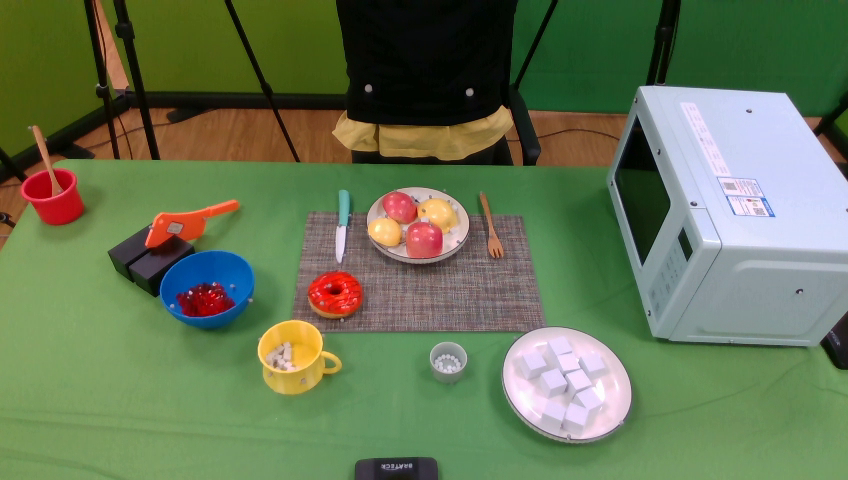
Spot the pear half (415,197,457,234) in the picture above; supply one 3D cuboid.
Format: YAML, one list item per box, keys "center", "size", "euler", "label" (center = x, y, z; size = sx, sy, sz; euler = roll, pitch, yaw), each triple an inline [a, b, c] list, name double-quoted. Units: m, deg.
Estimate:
- center: [0.016, -0.065, 1.227]
  size: [0.076, 0.056, 0.109]
  euler: [-27, 51, -32]
  label: "pear half"

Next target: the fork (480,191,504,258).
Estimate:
- center: [0.136, -0.035, 1.241]
  size: [0.028, 0.019, 0.206]
  euler: [-8, 46, 1]
  label: "fork"

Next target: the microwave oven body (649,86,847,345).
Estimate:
- center: [0.567, -0.053, 1.118]
  size: [0.326, 0.261, 0.439]
  euler: [2, 45, -1]
  label: "microwave oven body"

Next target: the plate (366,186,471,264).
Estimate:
- center: [-0.013, -0.027, 1.207]
  size: [0.209, 0.038, 0.208]
  euler: [2, 46, -2]
  label: "plate"

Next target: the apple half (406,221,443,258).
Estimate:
- center: [0.001, -0.006, 1.164]
  size: [0.075, 0.053, 0.080]
  euler: [5, 42, -1]
  label: "apple half"

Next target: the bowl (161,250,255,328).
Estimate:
- center: [-0.362, 0.097, 1.040]
  size: [0.151, 0.077, 0.150]
  euler: [2, 45, -2]
  label: "bowl"

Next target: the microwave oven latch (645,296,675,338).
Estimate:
- center: [0.411, 0.134, 1.061]
  size: [0.030, 0.029, 0.078]
  euler: [4, 45, 0]
  label: "microwave oven latch"

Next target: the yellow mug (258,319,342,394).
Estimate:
- center: [-0.196, 0.189, 0.972]
  size: [0.131, 0.064, 0.099]
  euler: [9, 46, 4]
  label: "yellow mug"

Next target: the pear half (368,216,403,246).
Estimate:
- center: [-0.070, -0.026, 1.183]
  size: [0.070, 0.031, 0.087]
  euler: [33, 46, 0]
  label: "pear half"

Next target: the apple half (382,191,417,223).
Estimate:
- center: [-0.043, -0.072, 1.225]
  size: [0.081, 0.033, 0.081]
  euler: [19, 41, -17]
  label: "apple half"

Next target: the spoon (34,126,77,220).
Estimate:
- center: [-0.726, -0.132, 1.187]
  size: [0.041, 0.021, 0.194]
  euler: [-18, 94, -19]
  label: "spoon"

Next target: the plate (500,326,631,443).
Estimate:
- center: [0.224, 0.234, 0.978]
  size: [0.208, 0.039, 0.206]
  euler: [2, 46, -2]
  label: "plate"

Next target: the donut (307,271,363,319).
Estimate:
- center: [-0.157, 0.097, 1.072]
  size: [0.099, 0.048, 0.098]
  euler: [4, 45, -4]
  label: "donut"

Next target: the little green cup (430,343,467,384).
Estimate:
- center: [0.039, 0.203, 0.994]
  size: [0.061, 0.039, 0.061]
  euler: [2, 46, -2]
  label: "little green cup"

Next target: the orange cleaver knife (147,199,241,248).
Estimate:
- center: [-0.435, -0.033, 1.157]
  size: [0.012, 0.077, 0.211]
  euler: [31, 27, 19]
  label: "orange cleaver knife"

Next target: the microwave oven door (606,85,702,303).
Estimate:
- center: [0.423, -0.094, 1.140]
  size: [0.039, 0.245, 0.353]
  euler: [2, 46, -1]
  label: "microwave oven door"

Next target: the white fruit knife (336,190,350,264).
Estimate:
- center: [-0.164, -0.030, 1.217]
  size: [0.027, 0.016, 0.206]
  euler: [-22, 45, 19]
  label: "white fruit knife"
